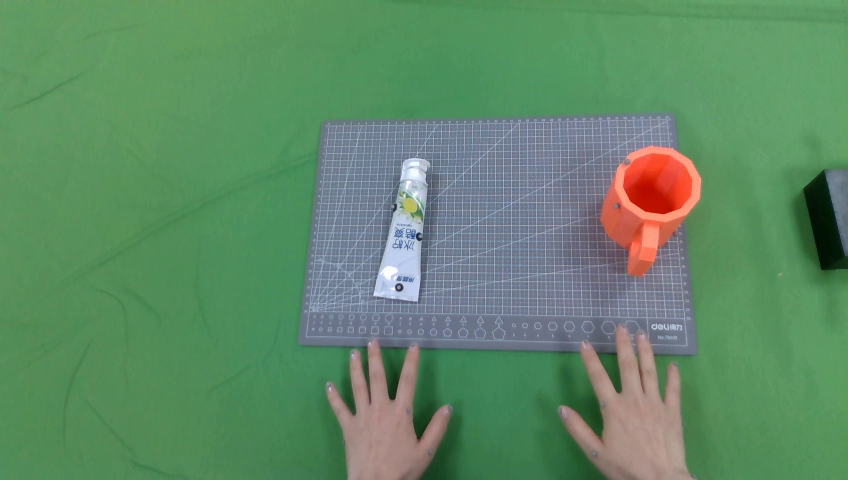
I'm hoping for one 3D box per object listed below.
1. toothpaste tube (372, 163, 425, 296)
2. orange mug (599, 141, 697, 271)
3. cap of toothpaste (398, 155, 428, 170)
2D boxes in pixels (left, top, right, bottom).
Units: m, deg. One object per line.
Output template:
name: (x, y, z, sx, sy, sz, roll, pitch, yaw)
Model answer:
toothpaste tube: (-0.026, -0.016, 0.730, 0.055, 0.035, 0.164, 4, 76, 14)
orange mug: (0.242, -0.033, 0.666, 0.083, 0.101, 0.125, 8, 68, 10)
cap of toothpaste: (-0.014, -0.094, 0.748, 0.037, 0.037, 0.011, -3, 70, 6)
